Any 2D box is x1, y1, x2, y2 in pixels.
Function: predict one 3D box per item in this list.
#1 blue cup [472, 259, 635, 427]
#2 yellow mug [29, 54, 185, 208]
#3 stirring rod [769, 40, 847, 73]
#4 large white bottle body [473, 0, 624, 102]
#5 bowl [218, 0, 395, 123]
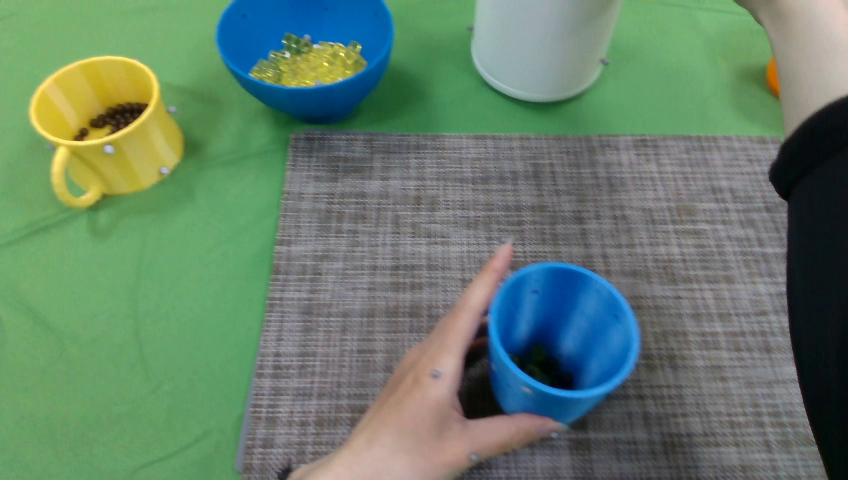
[{"bbox_3d":[0.077,0.075,0.385,0.092,0.101,0.092,0,56,0],"label":"blue cup"},{"bbox_3d":[-0.266,-0.085,0.502,0.100,0.064,0.130,11,59,6],"label":"yellow mug"},{"bbox_3d":[0.402,-0.180,0.536,0.175,0.006,0.014,-10,45,45],"label":"stirring rod"},{"bbox_3d":[0.113,-0.231,0.532,0.131,0.186,0.129,1,58,-1],"label":"large white bottle body"},{"bbox_3d":[-0.099,-0.161,0.547,0.151,0.077,0.150,1,58,-1],"label":"bowl"}]
